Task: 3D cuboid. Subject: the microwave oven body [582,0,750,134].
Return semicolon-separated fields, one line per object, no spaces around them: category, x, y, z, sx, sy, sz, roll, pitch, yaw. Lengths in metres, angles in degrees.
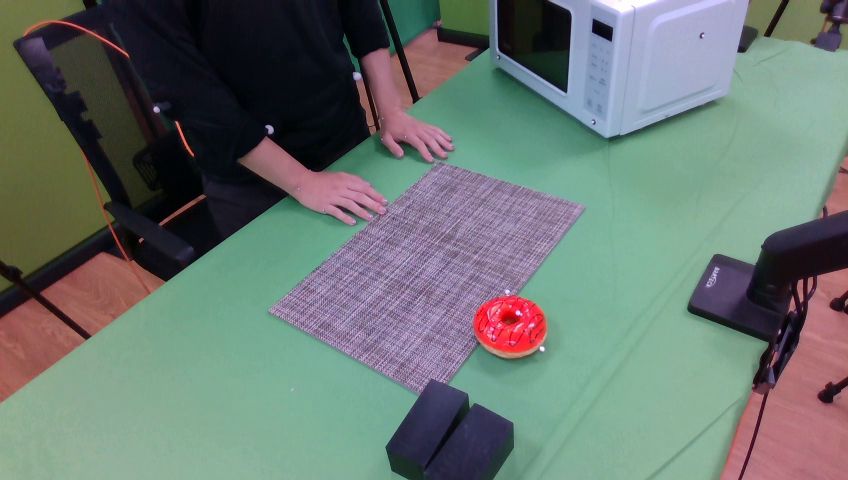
microwave oven body;0.382;-0.444;1.246;0.327;0.261;0.437;-22;42;-16

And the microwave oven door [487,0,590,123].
microwave oven door;0.232;-0.420;1.231;0.039;0.245;0.352;-22;43;-16

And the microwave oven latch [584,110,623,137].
microwave oven latch;0.337;-0.222;1.142;0.030;0.029;0.078;-21;42;-14

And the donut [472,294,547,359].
donut;0.114;0.114;0.803;0.099;0.048;0.098;0;40;1
